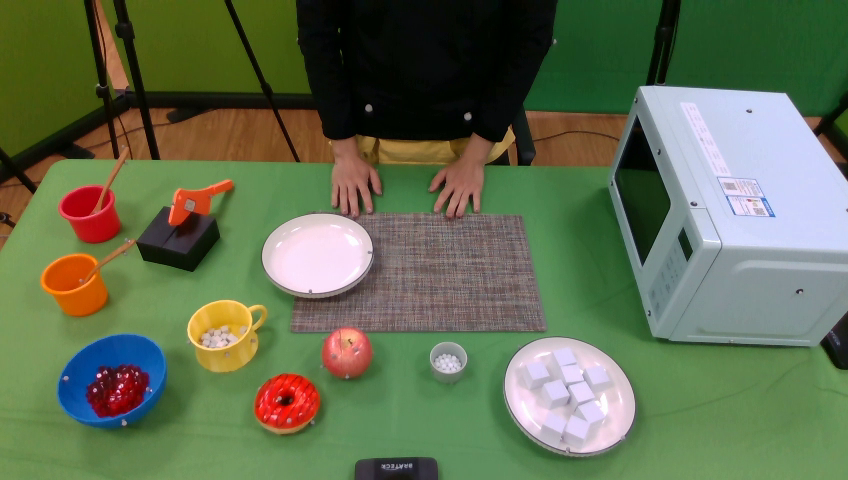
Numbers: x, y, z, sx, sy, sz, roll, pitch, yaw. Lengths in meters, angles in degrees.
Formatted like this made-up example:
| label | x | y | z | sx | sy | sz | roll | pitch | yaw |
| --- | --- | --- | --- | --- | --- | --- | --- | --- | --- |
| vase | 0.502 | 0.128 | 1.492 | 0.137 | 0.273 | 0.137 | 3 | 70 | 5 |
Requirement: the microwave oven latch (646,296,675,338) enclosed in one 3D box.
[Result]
| label | x | y | z | sx | sy | sz | roll | pitch | yaw |
| --- | --- | --- | --- | --- | --- | --- | --- | --- | --- |
| microwave oven latch | 0.412 | 0.134 | 1.061 | 0.030 | 0.029 | 0.078 | 3 | 45 | 0 |

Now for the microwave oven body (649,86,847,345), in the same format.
| label | x | y | z | sx | sy | sz | roll | pitch | yaw |
| --- | --- | --- | --- | --- | --- | --- | --- | --- | --- |
| microwave oven body | 0.568 | -0.053 | 1.119 | 0.326 | 0.261 | 0.439 | 2 | 45 | -1 |

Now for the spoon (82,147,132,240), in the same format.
| label | x | y | z | sx | sy | sz | roll | pitch | yaw |
| --- | --- | --- | --- | --- | --- | --- | --- | --- | --- |
| spoon | -0.602 | -0.089 | 1.156 | 0.041 | 0.022 | 0.193 | 27 | 95 | 19 |

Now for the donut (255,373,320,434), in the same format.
| label | x | y | z | sx | sy | sz | roll | pitch | yaw |
| --- | --- | --- | --- | --- | --- | --- | --- | --- | --- |
| donut | -0.209 | 0.249 | 0.928 | 0.099 | 0.048 | 0.098 | 3 | 43 | -3 |

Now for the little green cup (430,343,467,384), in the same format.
| label | x | y | z | sx | sy | sz | roll | pitch | yaw |
| --- | --- | --- | --- | --- | --- | --- | --- | --- | --- |
| little green cup | 0.039 | 0.203 | 0.994 | 0.061 | 0.039 | 0.061 | 2 | 46 | -2 |

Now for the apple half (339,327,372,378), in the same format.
| label | x | y | z | sx | sy | sz | roll | pitch | yaw |
| --- | --- | --- | --- | --- | --- | --- | --- | --- | --- |
| apple half | -0.111 | 0.183 | 0.980 | 0.053 | 0.075 | 0.080 | -2 | 42 | -12 |

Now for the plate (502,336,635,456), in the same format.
| label | x | y | z | sx | sy | sz | roll | pitch | yaw |
| --- | --- | --- | --- | --- | --- | --- | --- | --- | --- |
| plate | 0.225 | 0.248 | 0.963 | 0.208 | 0.039 | 0.206 | 2 | 46 | -2 |

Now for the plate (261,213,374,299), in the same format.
| label | x | y | z | sx | sy | sz | roll | pitch | yaw |
| --- | --- | --- | --- | --- | --- | --- | --- | --- | --- |
| plate | -0.198 | 0.032 | 1.137 | 0.209 | 0.038 | 0.208 | 2 | 46 | -2 |

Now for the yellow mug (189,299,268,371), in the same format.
| label | x | y | z | sx | sy | sz | roll | pitch | yaw |
| --- | --- | --- | --- | --- | --- | --- | --- | --- | --- |
| yellow mug | -0.316 | 0.148 | 1.002 | 0.131 | 0.064 | 0.099 | -33 | 56 | -31 |

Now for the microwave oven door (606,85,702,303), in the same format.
| label | x | y | z | sx | sy | sz | roll | pitch | yaw |
| --- | --- | --- | --- | --- | --- | --- | --- | --- | --- |
| microwave oven door | 0.423 | -0.094 | 1.141 | 0.039 | 0.245 | 0.353 | 2 | 46 | -1 |

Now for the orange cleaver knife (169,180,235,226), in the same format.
| label | x | y | z | sx | sy | sz | roll | pitch | yaw |
| --- | --- | --- | --- | --- | --- | --- | --- | --- | --- |
| orange cleaver knife | -0.436 | -0.076 | 1.199 | 0.012 | 0.077 | 0.211 | 17 | 17 | 9 |

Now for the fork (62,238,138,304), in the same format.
| label | x | y | z | sx | sy | sz | roll | pitch | yaw |
| --- | --- | --- | --- | --- | --- | --- | --- | --- | --- |
| fork | -0.547 | 0.053 | 1.018 | 0.207 | 0.019 | 0.028 | -36 | 41 | 23 |

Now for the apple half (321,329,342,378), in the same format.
| label | x | y | z | sx | sy | sz | roll | pitch | yaw |
| --- | --- | --- | --- | --- | --- | --- | --- | --- | --- |
| apple half | -0.149 | 0.186 | 0.972 | 0.033 | 0.081 | 0.080 | -2 | 46 | -12 |

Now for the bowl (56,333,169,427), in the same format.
| label | x | y | z | sx | sy | sz | roll | pitch | yaw |
| --- | --- | --- | --- | --- | --- | --- | --- | --- | --- |
| bowl | -0.456 | 0.223 | 0.911 | 0.151 | 0.077 | 0.150 | 3 | 46 | -2 |
